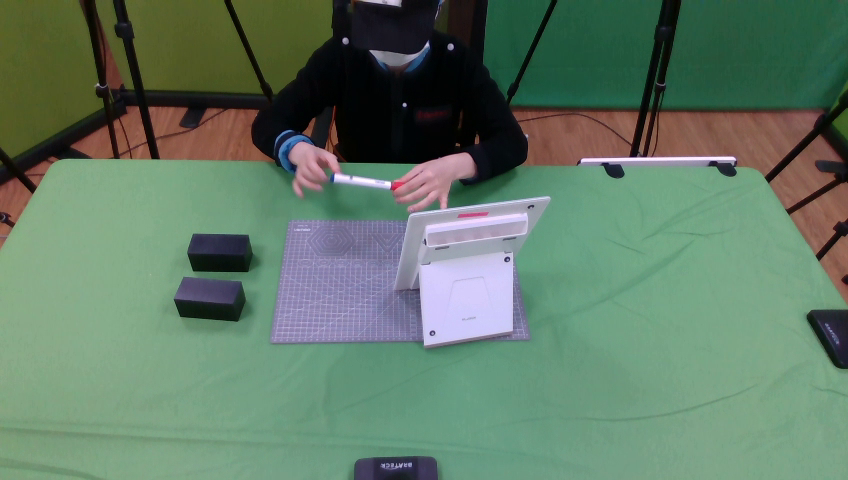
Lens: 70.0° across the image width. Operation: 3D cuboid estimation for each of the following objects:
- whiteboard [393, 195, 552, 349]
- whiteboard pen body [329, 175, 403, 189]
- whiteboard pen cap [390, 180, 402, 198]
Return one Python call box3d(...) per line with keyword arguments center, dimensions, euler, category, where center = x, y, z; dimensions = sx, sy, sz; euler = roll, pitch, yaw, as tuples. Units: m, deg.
box3d(center=(0.077, 0.071, 0.977), dimensions=(0.217, 0.306, 0.143), euler=(-7, 66, -11), category="whiteboard")
box3d(center=(-0.106, -0.106, 1.124), dimensions=(0.141, 0.017, 0.016), euler=(4, 44, -19), category="whiteboard pen body")
box3d(center=(-0.055, -0.097, 1.145), dimensions=(0.017, 0.032, 0.017), euler=(-26, 15, 8), category="whiteboard pen cap")
